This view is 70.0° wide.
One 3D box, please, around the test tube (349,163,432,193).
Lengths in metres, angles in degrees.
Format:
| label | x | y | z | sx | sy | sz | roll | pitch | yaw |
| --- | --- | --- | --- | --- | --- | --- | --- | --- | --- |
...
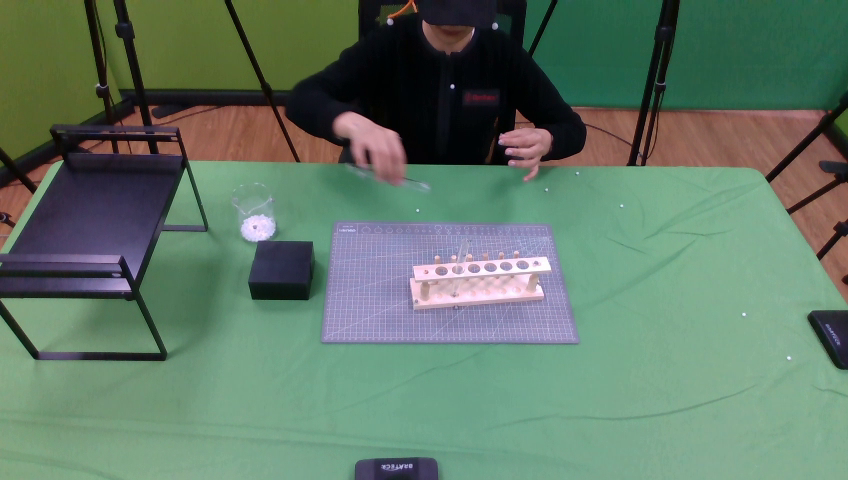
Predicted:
| label | x | y | z | sx | sy | sz | roll | pitch | yaw |
| --- | --- | --- | --- | --- | --- | --- | --- | --- | --- |
| test tube | -0.058 | -0.109 | 1.064 | 0.151 | 0.017 | 0.017 | 15 | 46 | -9 |

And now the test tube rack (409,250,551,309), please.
| label | x | y | z | sx | sy | sz | roll | pitch | yaw |
| --- | --- | --- | --- | --- | --- | --- | --- | --- | --- |
| test tube rack | 0.098 | 0.065 | 1.096 | 0.243 | 0.085 | 0.066 | -4 | 47 | -8 |

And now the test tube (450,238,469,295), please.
| label | x | y | z | sx | sy | sz | roll | pitch | yaw |
| --- | --- | --- | --- | --- | --- | --- | --- | --- | --- |
| test tube | 0.060 | 0.048 | 1.040 | 0.017 | 0.151 | 0.017 | 3 | 51 | -4 |

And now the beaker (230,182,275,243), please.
| label | x | y | z | sx | sy | sz | roll | pitch | yaw |
| --- | --- | --- | --- | --- | --- | --- | --- | --- | --- |
| beaker | -0.328 | -0.049 | 1.166 | 0.074 | 0.101 | 0.083 | 2 | 47 | -2 |
